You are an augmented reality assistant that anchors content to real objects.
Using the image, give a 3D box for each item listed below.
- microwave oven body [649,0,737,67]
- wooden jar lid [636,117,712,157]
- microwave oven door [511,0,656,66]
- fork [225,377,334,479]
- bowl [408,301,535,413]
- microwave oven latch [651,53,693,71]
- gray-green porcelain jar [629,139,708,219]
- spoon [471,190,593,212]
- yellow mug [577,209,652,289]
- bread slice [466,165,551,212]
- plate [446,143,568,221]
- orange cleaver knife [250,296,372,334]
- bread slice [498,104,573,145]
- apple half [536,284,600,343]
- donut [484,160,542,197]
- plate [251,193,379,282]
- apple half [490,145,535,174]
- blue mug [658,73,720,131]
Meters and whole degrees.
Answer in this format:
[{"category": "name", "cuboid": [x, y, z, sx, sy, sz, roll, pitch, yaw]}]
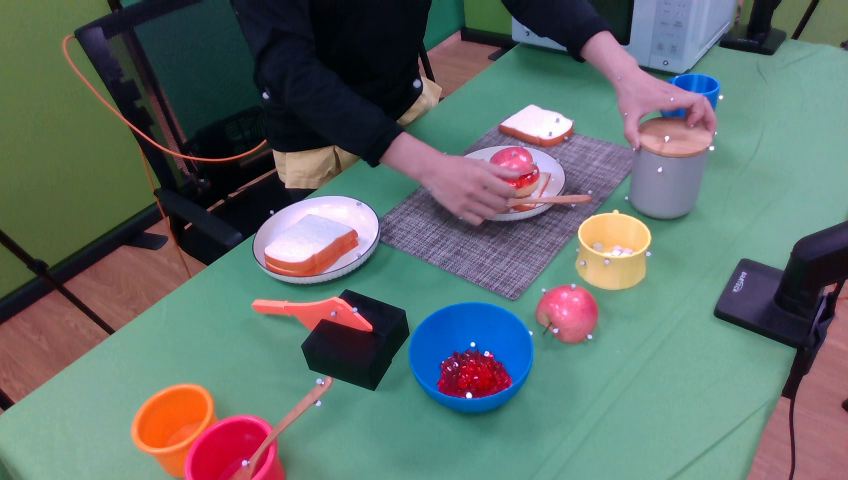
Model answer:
[{"category": "microwave oven body", "cuboid": [0.475, -0.602, 1.411, 0.438, 0.261, 0.327, 23, 50, 32]}, {"category": "wooden jar lid", "cuboid": [0.377, -0.153, 0.919, 0.108, 0.021, 0.108, -2, 41, 2]}, {"category": "microwave oven door", "cuboid": [0.350, -0.539, 1.348, 0.353, 0.245, 0.039, 24, 50, 31]}, {"category": "fork", "cuboid": [-0.163, 0.216, 0.646, 0.207, 0.019, 0.028, -49, 42, 16]}, {"category": "bowl", "cuboid": [0.060, 0.156, 0.739, 0.151, 0.077, 0.150, -4, 40, 4]}, {"category": "microwave oven latch", "cuboid": [0.533, -0.387, 1.301, 0.078, 0.029, 0.030, 30, 53, 36]}, {"category": "gray-green porcelain jar", "cuboid": [0.384, -0.106, 0.959, 0.106, 0.127, 0.105, -4, 41, 4]}, {"category": "spoon", "cuboid": [0.173, -0.064, 0.975, 0.193, 0.022, 0.041, -2, 78, 13]}, {"category": "yellow mug", "cuboid": [0.279, 0.004, 0.893, 0.099, 0.064, 0.130, 5, 41, 15]}, {"category": "bread slice", "cuboid": [0.140, -0.090, 1.044, 0.133, 0.018, 0.107, 12, 44, 18]}, {"category": "plate", "cuboid": [0.142, -0.097, 1.045, 0.207, 0.039, 0.206, -4, 41, 4]}, {"category": "orange cleaver knife", "cuboid": [-0.159, 0.103, 0.828, 0.210, 0.078, 0.012, -4, 43, 39]}, {"category": "bread slice", "cuboid": [0.230, -0.231, 1.205, 0.105, 0.019, 0.130, -36, 47, -29]}, {"category": "apple half", "cuboid": [0.196, 0.091, 0.815, 0.075, 0.053, 0.080, -22, 42, -20]}, {"category": "donut", "cuboid": [0.149, -0.110, 1.015, 0.099, 0.048, 0.098, -3, 43, 3]}, {"category": "plate", "cuboid": [-0.174, -0.001, 0.984, 0.209, 0.038, 0.208, -4, 41, 4]}, {"category": "apple half", "cuboid": [0.146, -0.138, 0.995, 0.081, 0.033, 0.081, -3, 34, 2]}, {"category": "blue mug", "cuboid": [0.483, -0.250, 1.127, 0.082, 0.106, 0.115, -26, 44, -19]}]
